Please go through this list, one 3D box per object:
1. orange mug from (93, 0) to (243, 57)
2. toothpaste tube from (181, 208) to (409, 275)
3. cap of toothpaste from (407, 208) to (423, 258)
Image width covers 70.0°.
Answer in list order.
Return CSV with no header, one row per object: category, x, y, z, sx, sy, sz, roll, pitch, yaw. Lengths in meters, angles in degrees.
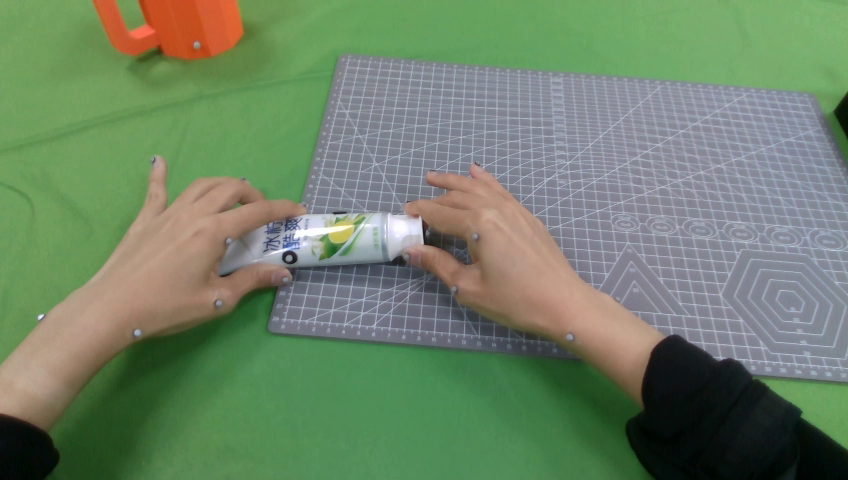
orange mug,-0.230,-0.224,0.540,0.126,0.101,0.083,-35,63,-30
toothpaste tube,-0.085,-0.004,0.428,0.165,0.035,0.054,-2,55,-1
cap of toothpaste,-0.006,-0.005,0.427,0.011,0.037,0.037,-2,53,0
